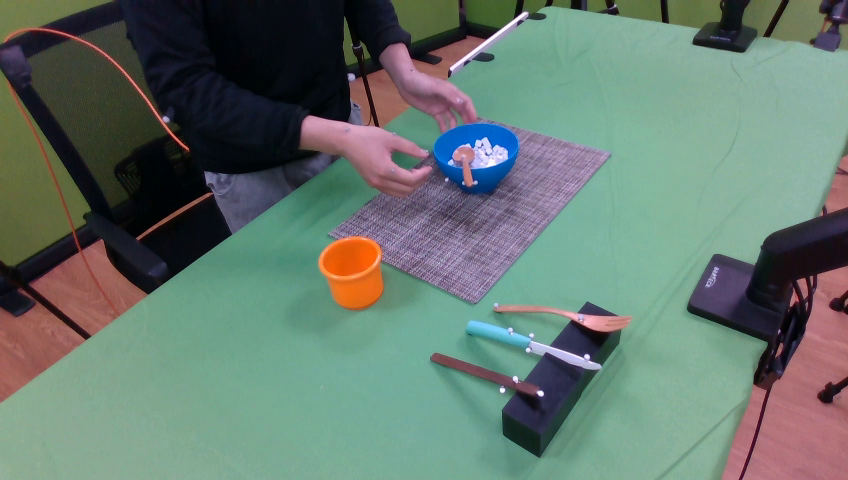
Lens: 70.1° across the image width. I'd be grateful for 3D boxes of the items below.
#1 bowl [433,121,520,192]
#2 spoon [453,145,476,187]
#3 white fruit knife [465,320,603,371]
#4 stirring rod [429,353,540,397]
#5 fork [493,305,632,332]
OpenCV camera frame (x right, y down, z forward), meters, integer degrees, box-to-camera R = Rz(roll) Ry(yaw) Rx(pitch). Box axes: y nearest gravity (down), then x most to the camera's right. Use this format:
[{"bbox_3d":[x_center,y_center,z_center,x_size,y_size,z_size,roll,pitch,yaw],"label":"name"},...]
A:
[{"bbox_3d":[0.093,-0.137,1.064,0.151,0.077,0.150,-4,41,4],"label":"bowl"},{"bbox_3d":[0.069,-0.125,1.000,0.041,0.022,0.193,-10,21,6],"label":"spoon"},{"bbox_3d":[0.128,0.129,0.749,0.205,0.027,0.016,10,44,44],"label":"white fruit knife"},{"bbox_3d":[0.068,0.162,0.736,0.174,0.006,0.014,8,41,47],"label":"stirring rod"},{"bbox_3d":[0.171,0.097,0.783,0.205,0.019,0.028,4,41,43],"label":"fork"}]
